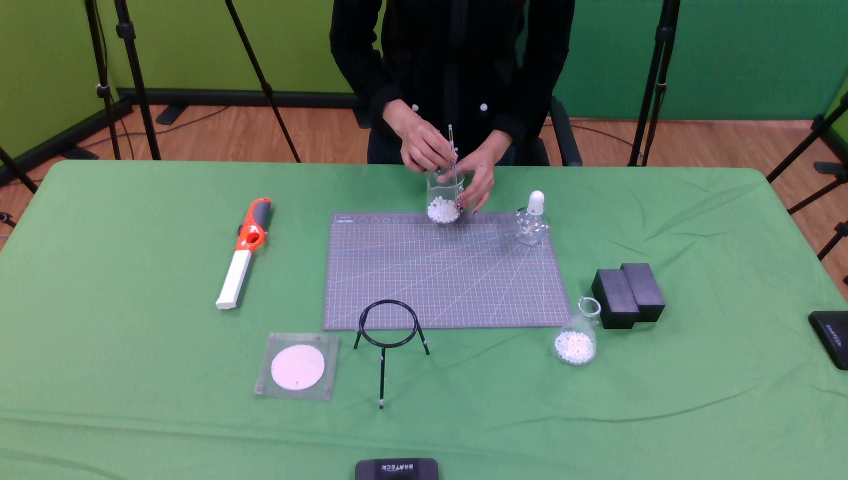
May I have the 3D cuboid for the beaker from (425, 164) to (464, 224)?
[{"bbox_3d":[0.036,-0.086,1.188,0.073,0.101,0.084,32,51,28],"label":"beaker"}]

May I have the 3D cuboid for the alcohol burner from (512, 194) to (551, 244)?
[{"bbox_3d":[0.215,-0.048,1.196,0.078,0.119,0.077,4,46,-4],"label":"alcohol burner"}]

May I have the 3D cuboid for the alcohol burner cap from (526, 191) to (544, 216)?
[{"bbox_3d":[0.216,-0.073,1.170,0.034,0.048,0.033,0,42,0],"label":"alcohol burner cap"}]

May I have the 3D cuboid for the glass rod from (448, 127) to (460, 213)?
[{"bbox_3d":[0.058,-0.127,1.143,0.008,0.201,0.008,-5,43,5],"label":"glass rod"}]

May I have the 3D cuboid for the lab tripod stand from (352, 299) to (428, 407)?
[{"bbox_3d":[-0.056,0.166,0.958,0.148,0.132,0.147,3,44,-2],"label":"lab tripod stand"}]

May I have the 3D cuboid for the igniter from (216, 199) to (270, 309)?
[{"bbox_3d":[-0.342,0.016,1.153,0.057,0.025,0.275,-4,45,7],"label":"igniter"}]

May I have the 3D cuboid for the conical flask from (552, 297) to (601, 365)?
[{"bbox_3d":[0.261,0.147,1.009,0.075,0.122,0.075,2,46,-2],"label":"conical flask"}]

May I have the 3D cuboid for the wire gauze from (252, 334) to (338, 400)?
[{"bbox_3d":[-0.209,0.204,0.996,0.125,0.011,0.120,3,45,1],"label":"wire gauze"}]
